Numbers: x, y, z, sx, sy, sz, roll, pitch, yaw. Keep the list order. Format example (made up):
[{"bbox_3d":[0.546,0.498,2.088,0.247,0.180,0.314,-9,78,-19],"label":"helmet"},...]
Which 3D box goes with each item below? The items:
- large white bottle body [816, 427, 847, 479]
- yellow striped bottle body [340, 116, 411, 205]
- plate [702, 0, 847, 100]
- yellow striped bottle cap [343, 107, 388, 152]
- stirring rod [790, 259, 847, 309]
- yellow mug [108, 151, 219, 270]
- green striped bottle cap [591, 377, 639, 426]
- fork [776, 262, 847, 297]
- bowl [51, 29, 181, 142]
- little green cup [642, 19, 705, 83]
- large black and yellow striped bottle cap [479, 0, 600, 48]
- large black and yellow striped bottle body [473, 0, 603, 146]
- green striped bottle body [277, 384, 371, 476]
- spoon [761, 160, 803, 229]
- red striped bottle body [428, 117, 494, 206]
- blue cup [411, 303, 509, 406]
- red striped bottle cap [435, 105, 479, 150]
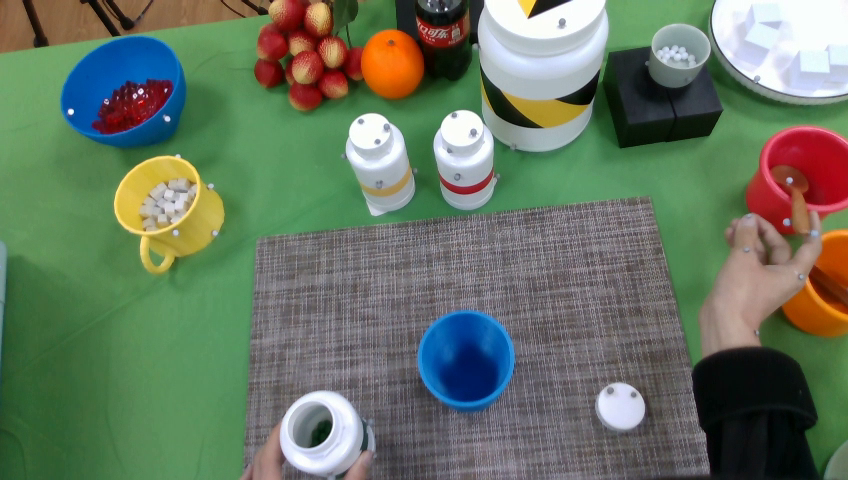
[{"bbox_3d":[0.404,0.191,0.454,0.130,0.186,0.129,-3,66,6],"label":"large white bottle body"},{"bbox_3d":[-0.053,-0.092,0.661,0.063,0.121,0.062,-3,66,6],"label":"yellow striped bottle body"},{"bbox_3d":[0.436,-0.249,0.719,0.209,0.038,0.207,-2,67,5],"label":"plate"},{"bbox_3d":[-0.059,-0.112,0.614,0.044,0.019,0.044,-2,68,5],"label":"yellow striped bottle cap"},{"bbox_3d":[0.381,0.056,0.542,0.014,0.006,0.175,-4,23,3],"label":"stirring rod"},{"bbox_3d":[-0.299,-0.029,0.691,0.100,0.064,0.130,3,68,7],"label":"yellow mug"},{"bbox_3d":[0.183,0.155,0.581,0.044,0.020,0.044,-2,54,3],"label":"green striped bottle cap"},{"bbox_3d":[0.411,0.054,0.532,0.028,0.019,0.205,-43,25,-11],"label":"fork"},{"bbox_3d":[-0.365,-0.177,0.755,0.151,0.077,0.150,-2,67,5],"label":"bowl"},{"bbox_3d":[0.270,-0.204,0.663,0.061,0.039,0.061,-2,65,4],"label":"little green cup"},{"bbox_3d":[0.109,-0.234,0.577,0.115,0.019,0.114,-3,66,6],"label":"large black and yellow striped bottle cap"},{"bbox_3d":[0.119,-0.202,0.654,0.130,0.185,0.130,-2,67,6],"label":"large black and yellow striped bottle body"},{"bbox_3d":[-0.083,0.161,0.511,0.063,0.120,0.062,-2,64,4],"label":"green striped bottle body"},{"bbox_3d":[0.350,-0.048,0.585,0.041,0.193,0.022,25,117,17],"label":"spoon"},{"bbox_3d":[0.040,-0.091,0.651,0.063,0.121,0.062,-4,65,9],"label":"red striped bottle body"},{"bbox_3d":[0.036,0.116,0.569,0.092,0.101,0.092,-2,66,4],"label":"blue cup"},{"bbox_3d":[0.033,-0.113,0.603,0.044,0.018,0.044,-1,65,2],"label":"red striped bottle cap"}]
